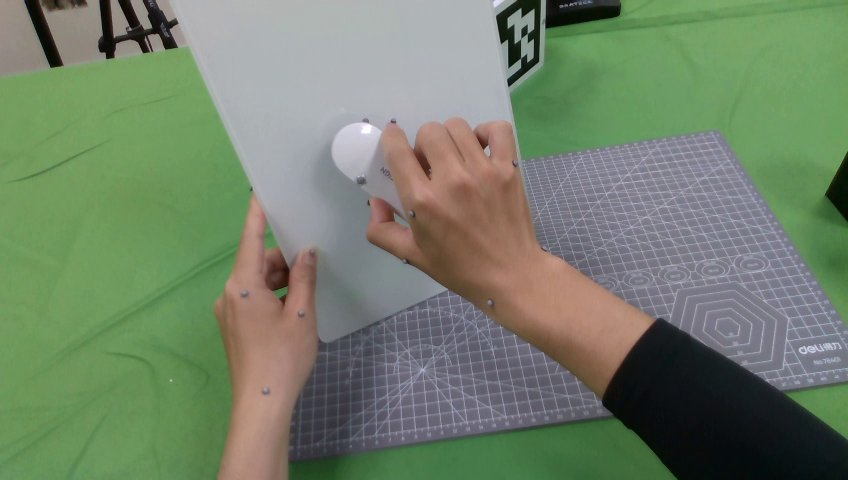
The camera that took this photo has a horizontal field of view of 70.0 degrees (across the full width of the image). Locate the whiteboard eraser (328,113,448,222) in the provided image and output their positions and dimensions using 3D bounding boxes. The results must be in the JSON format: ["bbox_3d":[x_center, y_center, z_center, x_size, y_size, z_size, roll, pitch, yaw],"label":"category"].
[{"bbox_3d":[-0.026,-0.053,0.444,0.041,0.102,0.018,-52,19,-1],"label":"whiteboard eraser"}]

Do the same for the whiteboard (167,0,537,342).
[{"bbox_3d":[-0.053,-0.109,0.523,0.217,0.308,0.142,-24,31,-11],"label":"whiteboard"}]
